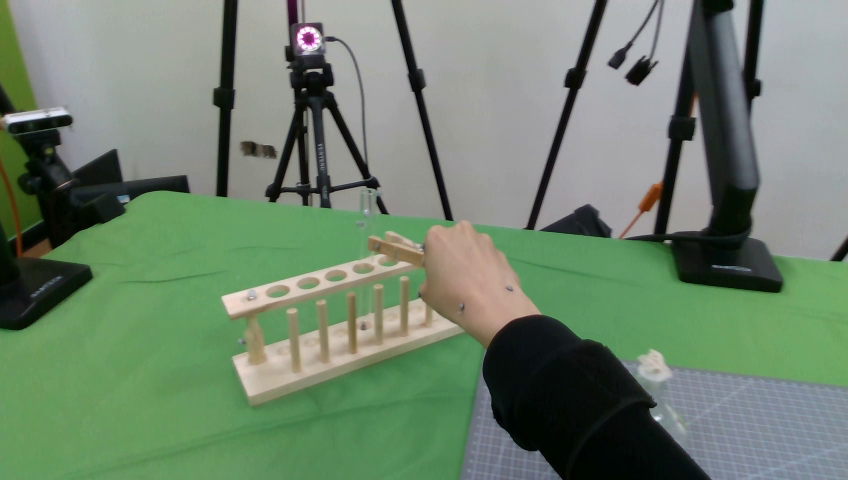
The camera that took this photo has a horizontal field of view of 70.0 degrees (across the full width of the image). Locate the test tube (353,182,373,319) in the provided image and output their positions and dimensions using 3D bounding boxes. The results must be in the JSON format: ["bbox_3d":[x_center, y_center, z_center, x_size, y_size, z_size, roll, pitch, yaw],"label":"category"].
[{"bbox_3d":[-0.063,0.014,0.614,0.017,0.151,0.017,4,24,-1],"label":"test tube"}]

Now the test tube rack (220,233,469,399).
[{"bbox_3d":[-0.071,0.070,0.617,0.243,0.086,0.066,-15,33,-25],"label":"test tube rack"}]

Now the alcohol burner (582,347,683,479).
[{"bbox_3d":[0.167,0.130,0.477,0.078,0.120,0.077,1,31,0],"label":"alcohol burner"}]

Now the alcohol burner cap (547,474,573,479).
[{"bbox_3d":[0.099,0.192,0.440,0.034,0.048,0.033,1,30,0],"label":"alcohol burner cap"}]

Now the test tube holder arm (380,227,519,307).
[{"bbox_3d":[0.015,0.020,0.528,0.013,0.015,0.176,-20,30,-36],"label":"test tube holder arm"}]

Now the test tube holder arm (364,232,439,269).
[{"bbox_3d":[-0.020,0.009,0.553,0.087,0.015,0.010,16,29,34],"label":"test tube holder arm"}]
